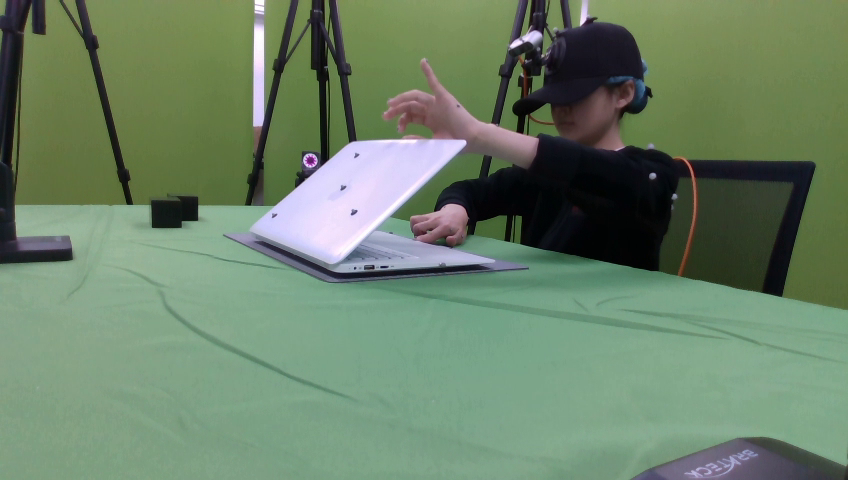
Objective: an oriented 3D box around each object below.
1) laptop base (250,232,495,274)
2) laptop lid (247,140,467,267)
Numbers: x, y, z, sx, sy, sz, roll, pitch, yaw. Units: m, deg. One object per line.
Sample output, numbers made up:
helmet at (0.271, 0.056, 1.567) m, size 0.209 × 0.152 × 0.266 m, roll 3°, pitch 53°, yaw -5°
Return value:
laptop base at (-0.093, 0.015, 0.883) m, size 0.237 × 0.023 × 0.352 m, roll 3°, pitch 6°, yaw -33°
laptop lid at (-0.114, -0.070, 0.856) m, size 0.242 × 0.013 × 0.355 m, roll -44°, pitch 28°, yaw -17°
